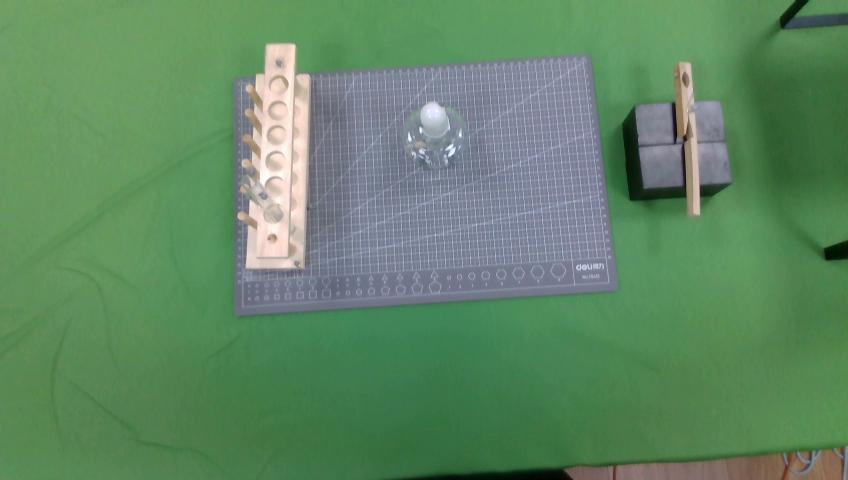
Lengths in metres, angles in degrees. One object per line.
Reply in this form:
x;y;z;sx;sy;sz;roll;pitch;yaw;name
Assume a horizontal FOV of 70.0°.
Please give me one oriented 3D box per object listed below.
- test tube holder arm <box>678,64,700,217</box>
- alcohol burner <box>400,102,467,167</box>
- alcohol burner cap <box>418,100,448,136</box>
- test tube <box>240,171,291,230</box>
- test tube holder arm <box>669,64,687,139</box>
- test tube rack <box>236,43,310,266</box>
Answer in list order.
0.299;-0.115;0.686;0.013;0.015;0.177;-1;80;-5;test tube holder arm
0.010;-0.127;0.689;0.078;0.119;0.077;0;80;2;alcohol burner
0.008;-0.134;0.654;0.034;0.048;0.034;0;84;3;alcohol burner cap
-0.164;-0.037;0.638;0.017;0.151;0.017;0;74;1;test tube
0.292;-0.159;0.694;0.010;0.015;0.087;0;80;-5;test tube holder arm
-0.177;-0.095;0.700;0.067;0.085;0.241;0;79;1;test tube rack
